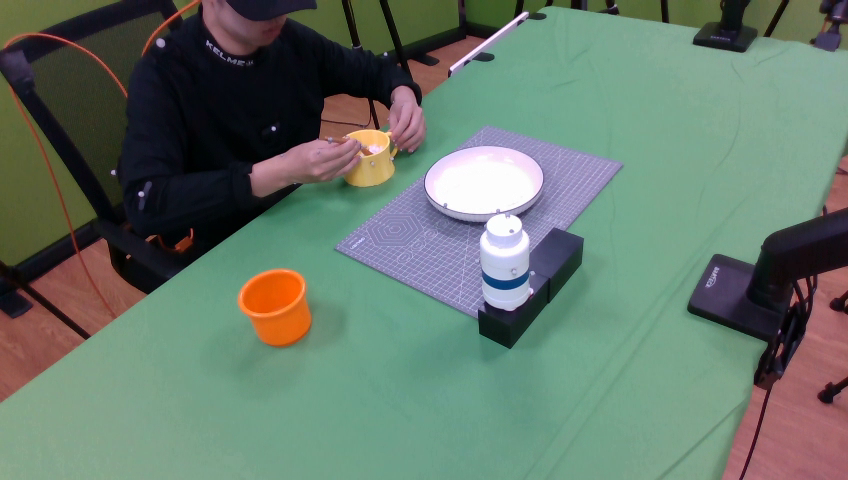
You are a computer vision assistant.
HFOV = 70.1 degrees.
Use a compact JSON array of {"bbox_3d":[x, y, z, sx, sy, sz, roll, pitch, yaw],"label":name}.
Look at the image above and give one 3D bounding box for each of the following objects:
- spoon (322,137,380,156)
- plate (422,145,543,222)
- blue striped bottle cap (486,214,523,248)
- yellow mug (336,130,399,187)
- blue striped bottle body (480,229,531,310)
[{"bbox_3d":[-0.124,-0.166,1.070,0.041,0.021,0.195,22,7,23],"label":"spoon"},{"bbox_3d":[0.101,-0.094,1.048,0.207,0.039,0.206,-4,41,4],"label":"plate"},{"bbox_3d":[0.098,-0.011,0.735,0.044,0.021,0.044,-3,38,3],"label":"blue striped bottle cap"},{"bbox_3d":[-0.098,-0.161,1.139,0.131,0.064,0.099,-34,47,-29],"label":"yellow mug"},{"bbox_3d":[0.104,0.027,0.769,0.063,0.121,0.063,-4,40,4],"label":"blue striped bottle body"}]
